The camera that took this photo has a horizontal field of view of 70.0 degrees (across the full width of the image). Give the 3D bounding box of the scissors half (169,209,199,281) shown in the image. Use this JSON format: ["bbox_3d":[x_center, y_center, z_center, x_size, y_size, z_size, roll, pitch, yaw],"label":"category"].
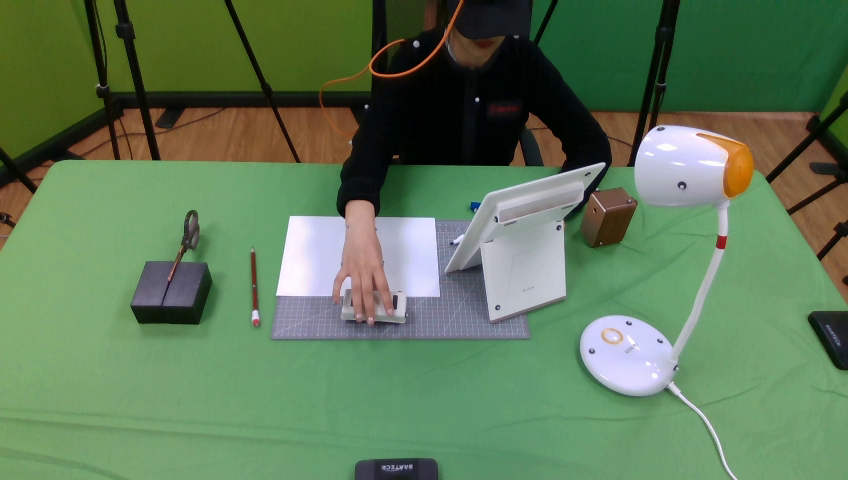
[{"bbox_3d":[-0.438,0.007,1.098,0.013,0.040,0.174,3,48,-3],"label":"scissors half"}]

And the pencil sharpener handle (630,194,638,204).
[{"bbox_3d":[0.417,-0.068,1.215,0.031,0.068,0.036,-11,60,-14],"label":"pencil sharpener handle"}]

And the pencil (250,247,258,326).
[{"bbox_3d":[-0.312,0.079,1.107,0.012,0.012,0.192,-7,46,-11],"label":"pencil"}]

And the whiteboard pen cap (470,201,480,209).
[{"bbox_3d":[0.113,-0.073,1.279,0.033,0.018,0.018,5,46,6],"label":"whiteboard pen cap"}]

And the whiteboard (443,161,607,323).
[{"bbox_3d":[0.185,0.025,1.029,0.217,0.306,0.143,-15,68,-18],"label":"whiteboard"}]

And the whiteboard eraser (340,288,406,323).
[{"bbox_3d":[-0.088,0.117,1.059,0.113,0.042,0.055,3,46,-1],"label":"whiteboard eraser"}]

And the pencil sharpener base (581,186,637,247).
[{"bbox_3d":[0.369,-0.047,1.209,0.077,0.107,0.061,-11,47,-15],"label":"pencil sharpener base"}]

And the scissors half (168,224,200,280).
[{"bbox_3d":[-0.440,0.023,1.111,0.013,0.040,0.174,7,29,-6],"label":"scissors half"}]

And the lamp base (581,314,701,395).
[{"bbox_3d":[0.361,0.144,0.973,0.178,0.181,0.160,34,53,23],"label":"lamp base"}]

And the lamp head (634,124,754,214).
[{"bbox_3d":[0.351,-0.089,0.776,0.112,0.113,0.122,-30,30,-28],"label":"lamp head"}]

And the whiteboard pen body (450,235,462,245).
[{"bbox_3d":[0.110,-0.017,1.222,0.141,0.017,0.017,-24,52,-23],"label":"whiteboard pen body"}]
